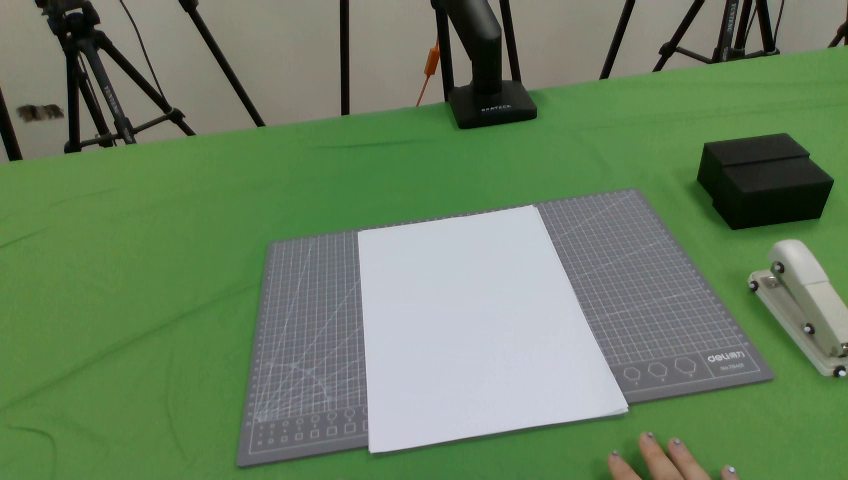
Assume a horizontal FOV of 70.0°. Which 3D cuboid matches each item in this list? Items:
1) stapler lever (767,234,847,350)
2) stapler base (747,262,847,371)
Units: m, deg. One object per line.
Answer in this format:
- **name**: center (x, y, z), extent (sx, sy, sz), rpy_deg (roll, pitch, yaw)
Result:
- **stapler lever**: center (0.343, 0.041, 0.531), extent (0.027, 0.040, 0.117), rpy_deg (-10, 41, -2)
- **stapler base**: center (0.345, 0.059, 0.549), extent (0.041, 0.025, 0.129), rpy_deg (-10, 41, -2)
